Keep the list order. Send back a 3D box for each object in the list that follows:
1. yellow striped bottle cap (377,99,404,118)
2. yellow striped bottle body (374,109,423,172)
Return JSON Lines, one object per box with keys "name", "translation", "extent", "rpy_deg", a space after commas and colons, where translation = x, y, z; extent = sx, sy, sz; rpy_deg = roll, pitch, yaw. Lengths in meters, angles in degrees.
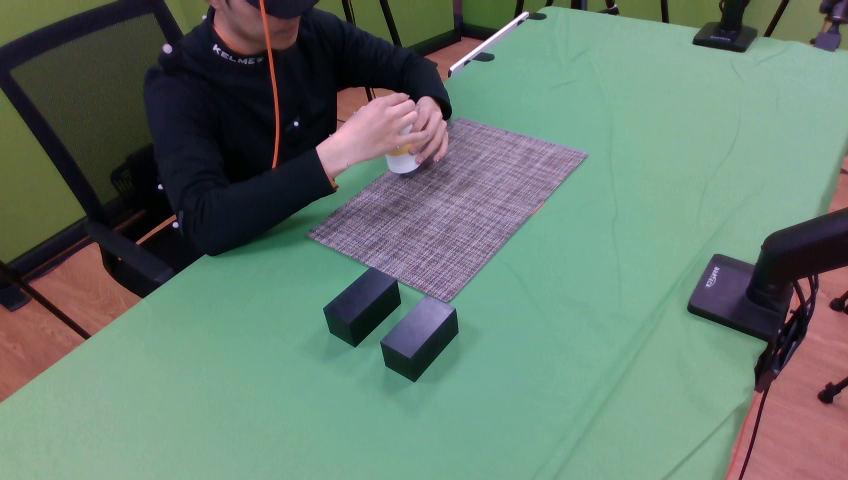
{"name": "yellow striped bottle cap", "translation": [-0.058, -0.225, 1.039], "extent": [0.044, 0.019, 0.044], "rpy_deg": [-9, 39, 8]}
{"name": "yellow striped bottle body", "translation": [-0.048, -0.185, 1.072], "extent": [0.062, 0.121, 0.062], "rpy_deg": [-12, 46, 13]}
